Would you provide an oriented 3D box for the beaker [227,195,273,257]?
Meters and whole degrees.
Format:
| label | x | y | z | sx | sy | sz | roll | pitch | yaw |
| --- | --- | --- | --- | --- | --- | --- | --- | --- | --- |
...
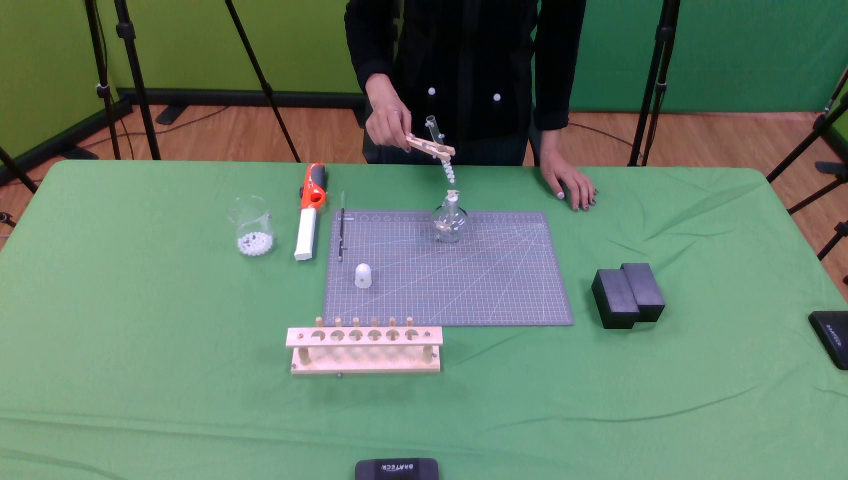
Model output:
| label | x | y | z | sx | sy | sz | roll | pitch | yaw |
| --- | --- | --- | --- | --- | --- | --- | --- | --- | --- |
| beaker | -0.326 | -0.022 | 1.142 | 0.074 | 0.101 | 0.083 | 10 | 47 | 6 |

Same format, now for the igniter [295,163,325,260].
| label | x | y | z | sx | sy | sz | roll | pitch | yaw |
| --- | --- | --- | --- | --- | --- | --- | --- | --- | --- |
| igniter | -0.233 | -0.068 | 1.243 | 0.057 | 0.025 | 0.274 | -7 | 46 | 4 |

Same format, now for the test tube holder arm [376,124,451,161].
| label | x | y | z | sx | sy | sz | roll | pitch | yaw |
| --- | --- | --- | --- | --- | --- | --- | --- | --- | --- |
| test tube holder arm | -0.022 | -0.179 | 1.101 | 0.177 | 0.015 | 0.013 | 26 | 58 | 32 |

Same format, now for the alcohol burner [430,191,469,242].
| label | x | y | z | sx | sy | sz | roll | pitch | yaw |
| --- | --- | --- | --- | --- | --- | --- | --- | --- | --- |
| alcohol burner | 0.051 | -0.053 | 1.185 | 0.078 | 0.119 | 0.077 | 2 | 48 | -2 |

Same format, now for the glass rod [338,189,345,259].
| label | x | y | z | sx | sy | sz | roll | pitch | yaw |
| --- | --- | --- | --- | --- | --- | --- | --- | --- | --- |
| glass rod | -0.166 | -0.036 | 1.227 | 0.008 | 0.008 | 0.198 | -1 | 46 | -4 |

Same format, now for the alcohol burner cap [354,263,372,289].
| label | x | y | z | sx | sy | sz | roll | pitch | yaw |
| --- | --- | --- | --- | --- | --- | --- | --- | --- | --- |
| alcohol burner cap | -0.113 | 0.063 | 1.111 | 0.034 | 0.048 | 0.033 | 2 | 46 | -2 |

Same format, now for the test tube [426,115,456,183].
| label | x | y | z | sx | sy | sz | roll | pitch | yaw |
| --- | --- | --- | --- | --- | --- | --- | --- | --- | --- |
| test tube | 0.032 | -0.157 | 1.066 | 0.017 | 0.151 | 0.017 | -12 | 46 | 13 |

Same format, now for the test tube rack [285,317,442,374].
| label | x | y | z | sx | sy | sz | roll | pitch | yaw |
| --- | --- | --- | --- | --- | --- | --- | --- | --- | --- |
| test tube rack | -0.095 | 0.166 | 0.988 | 0.242 | 0.085 | 0.066 | 0 | 46 | -4 |

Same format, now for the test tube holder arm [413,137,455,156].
| label | x | y | z | sx | sy | sz | roll | pitch | yaw |
| --- | --- | --- | --- | --- | --- | --- | --- | --- | --- |
| test tube holder arm | 0.016 | -0.167 | 1.081 | 0.087 | 0.015 | 0.010 | 19 | 55 | 28 |
